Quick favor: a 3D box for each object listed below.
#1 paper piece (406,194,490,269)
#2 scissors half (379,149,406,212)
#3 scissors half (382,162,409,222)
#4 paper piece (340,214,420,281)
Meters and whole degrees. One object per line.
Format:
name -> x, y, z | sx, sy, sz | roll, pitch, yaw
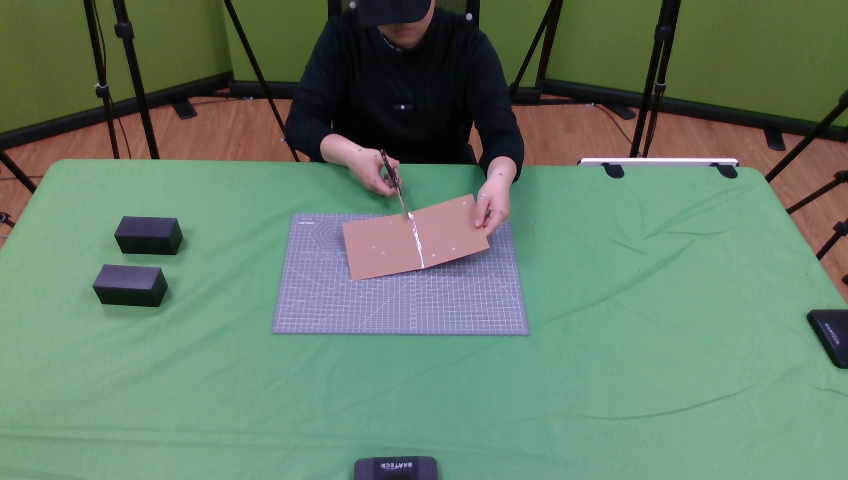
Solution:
paper piece -> 0.044, -0.019, 1.169 | 0.138, 0.009, 0.135 | -15, 61, 3
scissors half -> -0.059, -0.110, 1.232 | 0.013, 0.040, 0.174 | -22, 77, 1
scissors half -> -0.056, -0.100, 1.252 | 0.013, 0.040, 0.174 | -20, 51, -4
paper piece -> -0.085, 0.011, 1.165 | 0.135, 0.004, 0.135 | -9, 58, -8
